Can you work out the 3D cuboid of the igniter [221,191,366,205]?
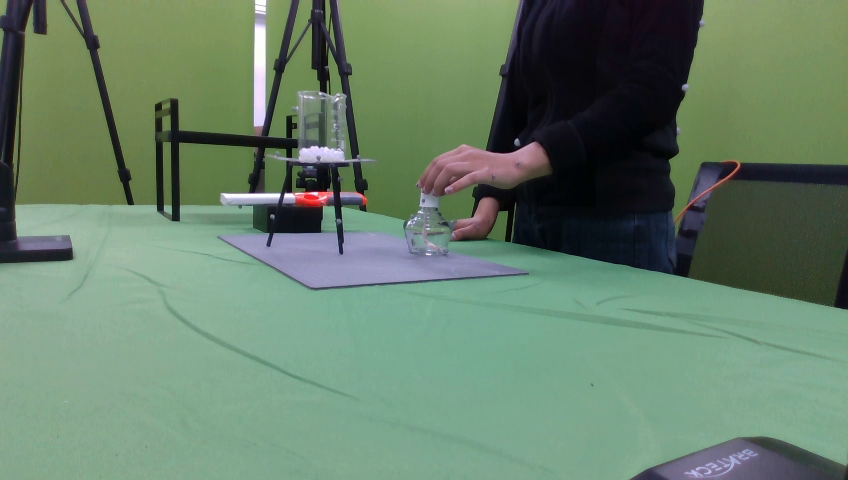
[{"bbox_3d":[-0.240,-0.078,1.150,0.278,0.025,0.057,-3,20,-32],"label":"igniter"}]

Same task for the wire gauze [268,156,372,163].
[{"bbox_3d":[-0.154,-0.119,0.910,0.122,0.011,0.124,-4,8,-45],"label":"wire gauze"}]

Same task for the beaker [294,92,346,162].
[{"bbox_3d":[-0.152,-0.165,0.896,0.074,0.100,0.083,-4,10,-33],"label":"beaker"}]

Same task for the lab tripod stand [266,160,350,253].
[{"bbox_3d":[-0.163,-0.054,0.914,0.148,0.131,0.148,2,9,0],"label":"lab tripod stand"}]

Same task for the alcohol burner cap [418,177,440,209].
[{"bbox_3d":[0.008,-0.071,0.909,0.034,0.048,0.034,1,5,0],"label":"alcohol burner cap"}]

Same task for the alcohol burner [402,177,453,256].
[{"bbox_3d":[0.007,-0.036,0.915,0.078,0.119,0.078,4,6,0],"label":"alcohol burner"}]
